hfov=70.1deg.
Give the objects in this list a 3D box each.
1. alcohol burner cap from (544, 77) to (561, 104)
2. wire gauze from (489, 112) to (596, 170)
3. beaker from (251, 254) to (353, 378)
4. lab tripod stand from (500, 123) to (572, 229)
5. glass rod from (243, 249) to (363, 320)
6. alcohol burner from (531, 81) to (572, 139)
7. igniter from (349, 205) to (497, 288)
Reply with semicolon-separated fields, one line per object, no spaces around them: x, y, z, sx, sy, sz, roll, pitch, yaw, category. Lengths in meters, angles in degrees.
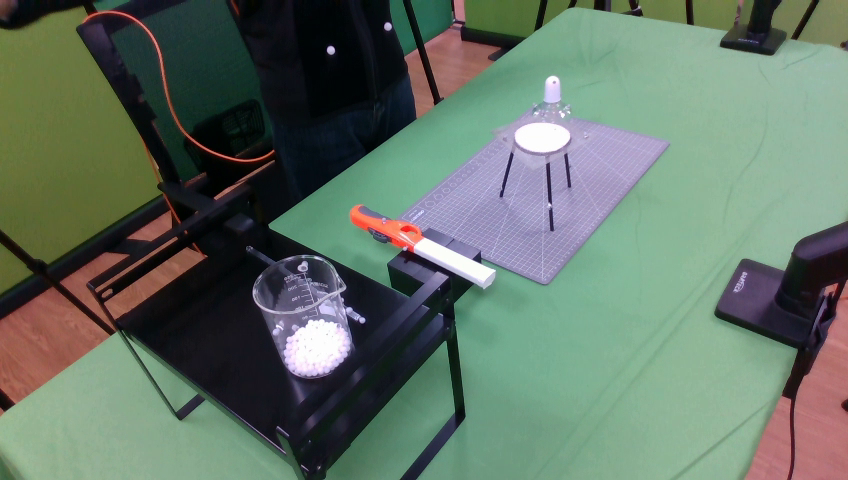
0.243;-0.285;1.143;0.034;0.048;0.033;-5;37;4;alcohol burner cap
0.183;-0.161;0.942;0.122;0.011;0.124;-24;44;-18;wire gauze
-0.106;0.074;0.565;0.084;0.101;0.073;-1;41;8;beaker
0.194;-0.110;0.985;0.148;0.132;0.147;-3;41;3;lab tripod stand
-0.141;0.046;0.674;0.198;0.008;0.008;24;49;32;glass rod
0.246;-0.256;1.165;0.078;0.119;0.077;-6;40;6;alcohol burner
-0.013;0.004;0.897;0.274;0.025;0.057;25;44;32;igniter
